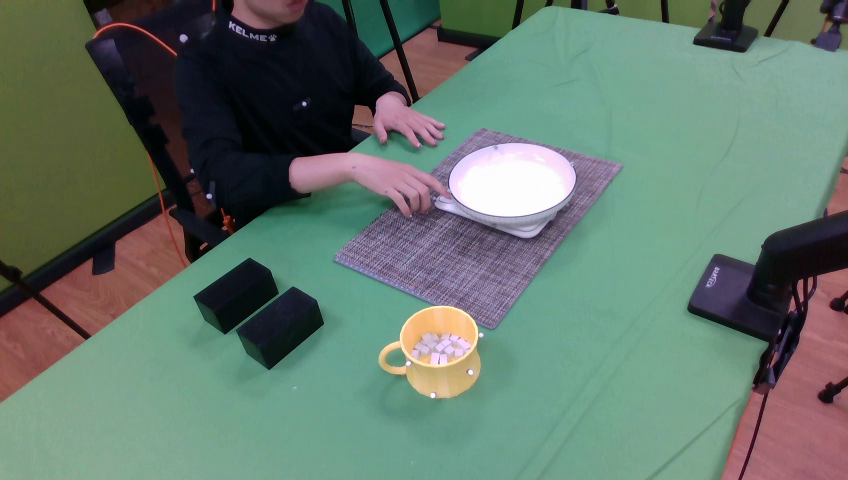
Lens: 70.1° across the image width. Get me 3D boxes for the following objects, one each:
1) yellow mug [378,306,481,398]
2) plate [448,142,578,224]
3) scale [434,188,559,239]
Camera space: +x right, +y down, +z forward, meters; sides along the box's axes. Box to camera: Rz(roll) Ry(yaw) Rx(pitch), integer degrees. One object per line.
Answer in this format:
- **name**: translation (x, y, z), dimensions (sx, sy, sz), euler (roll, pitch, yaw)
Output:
- **yellow mug**: translation (0.006, 0.144, 0.766), dimensions (0.131, 0.064, 0.099), euler (-10, 40, -2)
- **plate**: translation (0.145, -0.089, 0.989), dimensions (0.209, 0.038, 0.208), euler (-4, 41, 4)
- **scale**: translation (0.132, -0.074, 1.024), dimensions (0.199, 0.032, 0.149), euler (22, 48, 30)
